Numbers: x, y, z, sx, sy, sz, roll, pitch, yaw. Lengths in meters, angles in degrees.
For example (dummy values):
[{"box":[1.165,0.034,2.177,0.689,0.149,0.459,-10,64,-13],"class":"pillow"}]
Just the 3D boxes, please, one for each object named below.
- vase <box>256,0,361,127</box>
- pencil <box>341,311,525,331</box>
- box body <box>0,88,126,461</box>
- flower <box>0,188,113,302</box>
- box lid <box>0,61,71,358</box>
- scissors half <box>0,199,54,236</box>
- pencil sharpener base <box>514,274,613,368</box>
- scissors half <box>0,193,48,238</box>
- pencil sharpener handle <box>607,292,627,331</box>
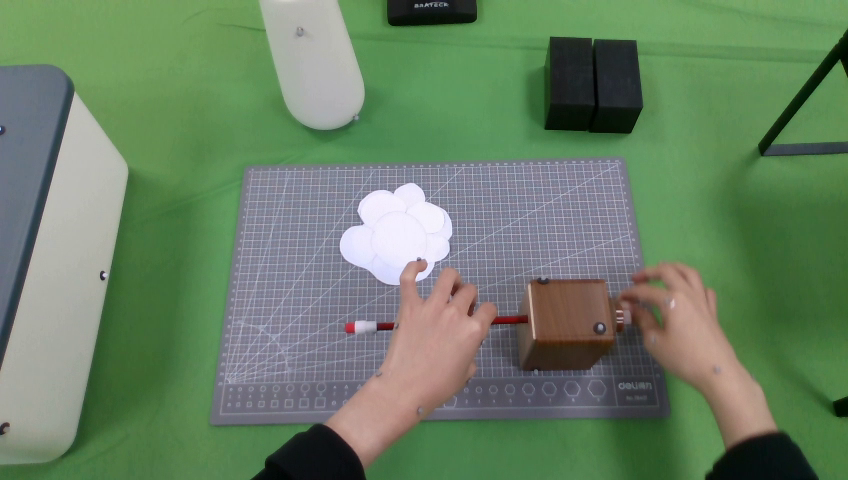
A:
[{"box":[-0.129,-0.216,0.671,0.098,0.201,0.097,-1,64,3],"class":"vase"},{"box":[0.022,0.072,0.549,0.194,0.012,0.012,-3,64,-2],"class":"pencil"},{"box":[-0.465,0.027,0.586,0.254,0.161,0.361,-3,65,0],"class":"box body"},{"box":[-0.461,0.058,0.664,0.038,0.044,0.359,-9,39,33],"class":"flower"},{"box":[-0.467,-0.007,0.518,0.263,0.015,0.368,-2,65,-1],"class":"box lid"},{"box":[-0.503,-0.004,0.669,0.175,0.040,0.012,-26,35,-12],"class":"scissors half"},{"box":[0.129,0.079,0.575,0.077,0.108,0.061,-1,64,1],"class":"pencil sharpener base"},{"box":[-0.498,0.007,0.677,0.175,0.040,0.012,-34,30,-6],"class":"scissors half"},{"box":[0.180,0.062,0.565,0.030,0.067,0.036,-1,103,1],"class":"pencil sharpener handle"}]
